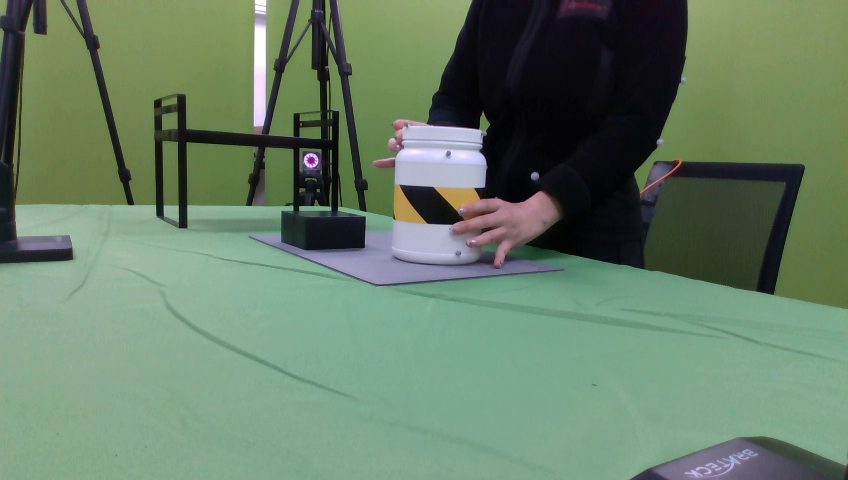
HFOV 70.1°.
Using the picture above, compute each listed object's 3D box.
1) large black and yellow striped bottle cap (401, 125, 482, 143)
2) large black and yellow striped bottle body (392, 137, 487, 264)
[{"bbox_3d":[0.025,-0.149,0.848,0.115,0.019,0.115,3,9,0],"label":"large black and yellow striped bottle cap"},{"bbox_3d":[0.022,-0.065,0.858,0.131,0.184,0.130,2,7,0],"label":"large black and yellow striped bottle body"}]
